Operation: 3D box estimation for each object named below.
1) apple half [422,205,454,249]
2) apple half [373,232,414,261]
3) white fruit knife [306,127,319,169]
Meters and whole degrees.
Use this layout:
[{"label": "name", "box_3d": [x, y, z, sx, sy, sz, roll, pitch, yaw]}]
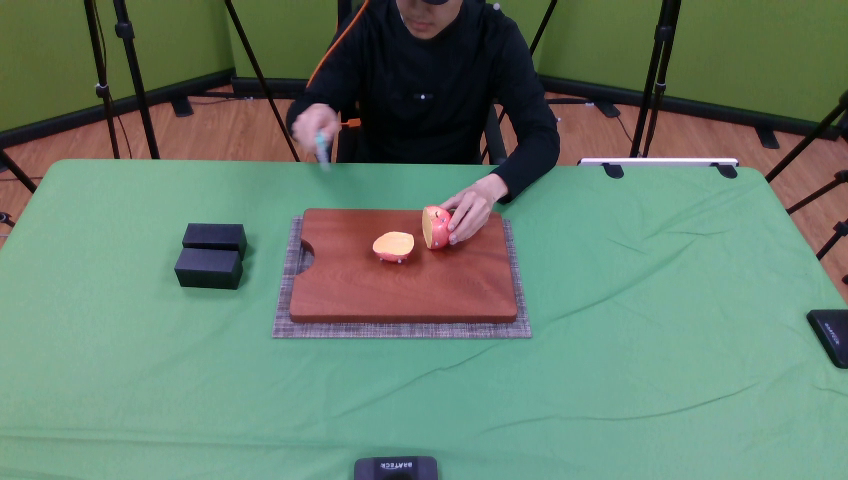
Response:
[{"label": "apple half", "box_3d": [0.029, -0.024, 1.145, 0.053, 0.075, 0.080, -5, 43, -14]}, {"label": "apple half", "box_3d": [-0.053, 0.017, 1.127, 0.081, 0.033, 0.081, -3, 32, 2]}, {"label": "white fruit knife", "box_3d": [-0.187, -0.158, 1.027, 0.016, 0.027, 0.206, -25, 28, -1]}]
